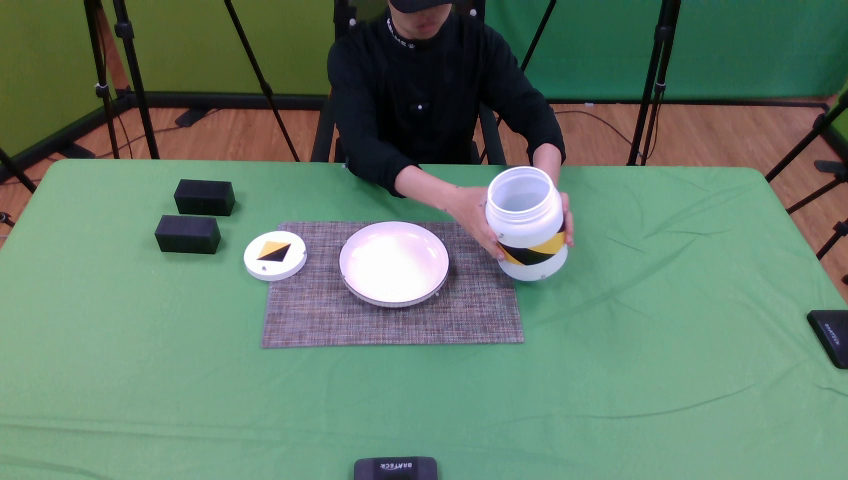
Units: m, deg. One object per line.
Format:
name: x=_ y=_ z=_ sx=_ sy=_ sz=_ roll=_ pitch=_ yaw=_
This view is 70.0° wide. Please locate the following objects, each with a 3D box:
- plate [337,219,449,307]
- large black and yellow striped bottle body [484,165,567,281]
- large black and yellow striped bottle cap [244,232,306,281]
plate: x=-0.057 y=0.045 z=1.132 sx=0.208 sy=0.039 sz=0.206 roll=2 pitch=46 yaw=-2
large black and yellow striped bottle body: x=0.178 y=-0.029 z=1.063 sx=0.131 sy=0.185 sz=0.130 roll=-10 pitch=49 yaw=11
large black and yellow striped bottle cap: x=-0.282 y=0.030 z=1.145 sx=0.115 sy=0.019 sz=0.114 roll=-1 pitch=45 yaw=1
